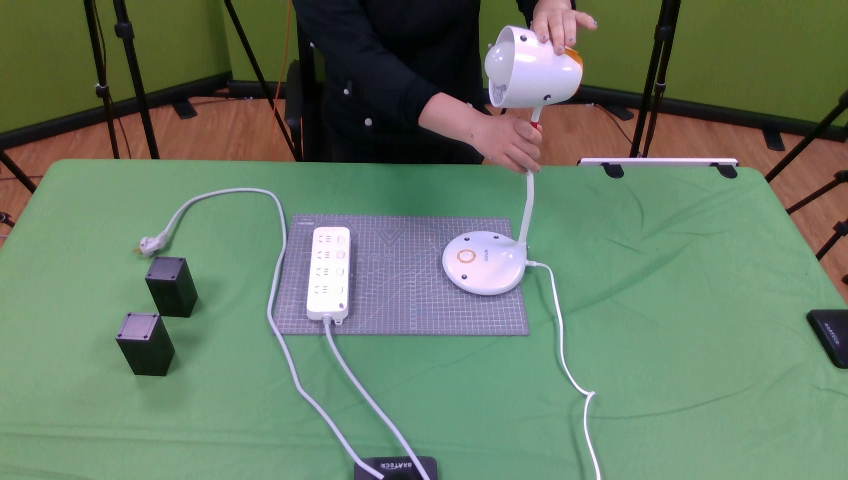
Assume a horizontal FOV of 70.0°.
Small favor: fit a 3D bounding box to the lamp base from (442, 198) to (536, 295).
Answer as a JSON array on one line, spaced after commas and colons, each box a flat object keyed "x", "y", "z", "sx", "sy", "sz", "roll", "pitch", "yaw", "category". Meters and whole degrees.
[{"x": 0.130, "y": -0.012, "z": 1.105, "sx": 0.179, "sy": 0.181, "sz": 0.159, "roll": -1, "pitch": 46, "yaw": -9, "category": "lamp base"}]

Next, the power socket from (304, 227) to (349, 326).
[{"x": -0.177, "y": 0.059, "z": 1.116, "sx": 0.072, "sy": 0.033, "sz": 0.225, "roll": -1, "pitch": 46, "yaw": -4, "category": "power socket"}]

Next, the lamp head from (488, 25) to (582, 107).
[{"x": 0.161, "y": -0.239, "z": 0.871, "sx": 0.123, "sy": 0.113, "sz": 0.111, "roll": 7, "pitch": 44, "yaw": -16, "category": "lamp head"}]

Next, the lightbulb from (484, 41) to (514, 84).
[{"x": 0.138, "y": -0.249, "z": 0.863, "sx": 0.108, "sy": 0.060, "sz": 0.059, "roll": 7, "pitch": 45, "yaw": -5, "category": "lightbulb"}]

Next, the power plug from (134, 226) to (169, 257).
[{"x": -0.516, "y": 0.006, "z": 1.152, "sx": 0.052, "sy": 0.035, "sz": 0.072, "roll": -7, "pitch": 25, "yaw": 5, "category": "power plug"}]
